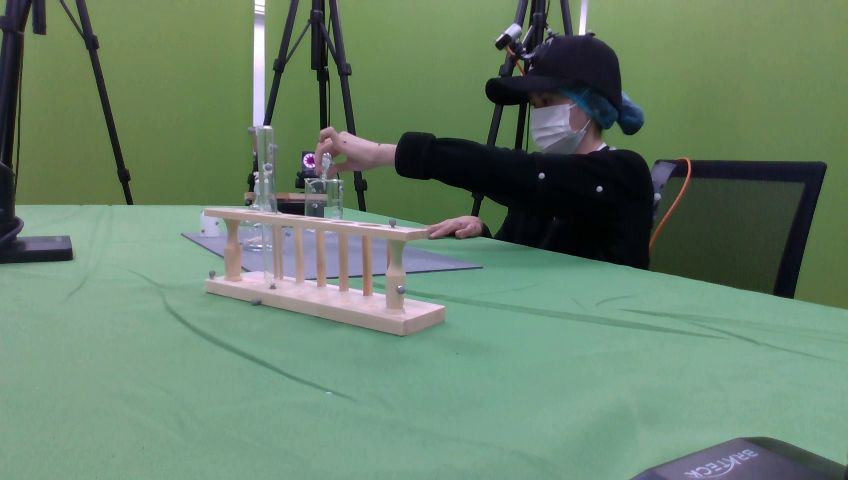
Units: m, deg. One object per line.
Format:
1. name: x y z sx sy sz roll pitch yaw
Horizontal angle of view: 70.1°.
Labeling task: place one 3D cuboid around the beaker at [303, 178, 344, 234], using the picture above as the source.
1. beaker: -0.189 -0.063 1.119 0.073 0.100 0.084 7 9 28

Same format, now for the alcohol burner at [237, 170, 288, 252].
1. alcohol burner: -0.236 -0.042 0.882 0.078 0.119 0.078 2 9 0

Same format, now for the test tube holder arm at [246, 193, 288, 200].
1. test tube holder arm: -0.317 -0.088 1.226 0.088 0.015 0.010 -3 0 -37

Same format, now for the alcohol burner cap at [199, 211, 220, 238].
1. alcohol burner cap: -0.356 -0.027 1.002 0.034 0.048 0.034 2 7 0

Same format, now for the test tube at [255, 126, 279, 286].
1. test tube: -0.147 -0.031 0.567 0.017 0.150 0.017 -1 8 0

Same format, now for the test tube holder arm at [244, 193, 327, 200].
1. test tube holder arm: -0.284 -0.090 1.258 0.179 0.015 0.013 -3 0 -37

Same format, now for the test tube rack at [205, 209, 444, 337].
1. test tube rack: -0.100 0.021 0.565 0.241 0.085 0.067 7 8 32

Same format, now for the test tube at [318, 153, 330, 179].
1. test tube: -0.170 -0.125 1.029 0.017 0.017 0.150 1 -5 -11
